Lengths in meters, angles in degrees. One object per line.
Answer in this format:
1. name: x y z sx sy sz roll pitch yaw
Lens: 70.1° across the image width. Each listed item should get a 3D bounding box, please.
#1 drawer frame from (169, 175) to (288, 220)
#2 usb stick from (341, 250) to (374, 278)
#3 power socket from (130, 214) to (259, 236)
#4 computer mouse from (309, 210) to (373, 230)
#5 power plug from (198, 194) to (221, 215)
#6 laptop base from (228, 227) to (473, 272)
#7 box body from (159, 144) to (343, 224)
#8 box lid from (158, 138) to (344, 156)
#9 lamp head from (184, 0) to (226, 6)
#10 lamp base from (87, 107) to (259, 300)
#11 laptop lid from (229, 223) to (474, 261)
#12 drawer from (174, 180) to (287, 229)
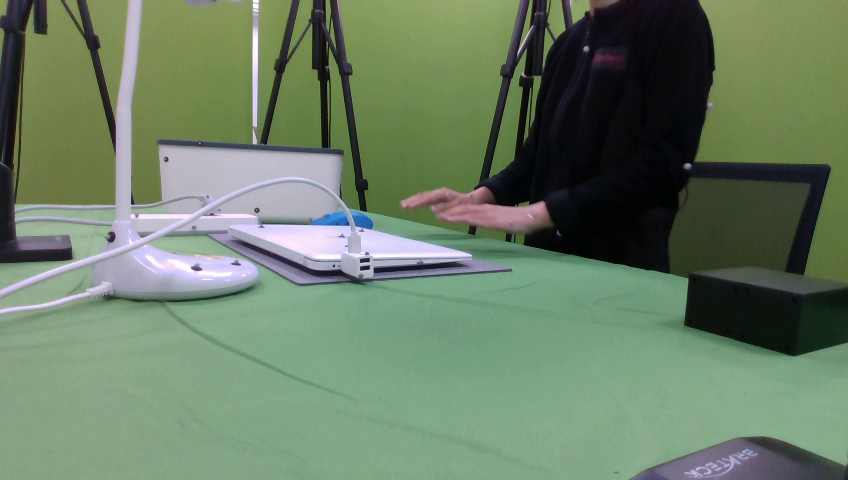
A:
1. drawer frame: -0.414 -0.096 1.320 0.214 0.082 0.201 -5 7 -8
2. usb stick: -0.079 0.026 0.686 0.021 0.027 0.059 -8 8 -30
3. power socket: -0.397 -0.028 1.048 0.228 0.032 0.072 -3 7 -35
4. computer mouse: -0.157 -0.034 1.139 0.118 0.041 0.062 -6 12 -28
5. power plug: -0.386 -0.055 1.088 0.035 0.052 0.072 -2 7 -24
6. laptop base: -0.124 0.011 0.889 0.237 0.023 0.352 2 6 -35
7. box body: -0.364 -0.128 1.337 0.365 0.160 0.253 1 7 -8
8. box lid: -0.363 -0.201 1.328 0.372 0.015 0.262 2 7 -8
9. lamp head: -0.229 -0.320 0.627 0.112 0.112 0.123 6 -36 26
10. lamp base: -0.254 -0.039 0.603 0.160 0.180 0.179 5 10 18
11. laptop lid: -0.121 -0.001 0.888 0.243 0.013 0.355 1 7 -33
12. drawer: -0.413 -0.080 1.325 0.212 0.073 0.194 -8 11 -8
